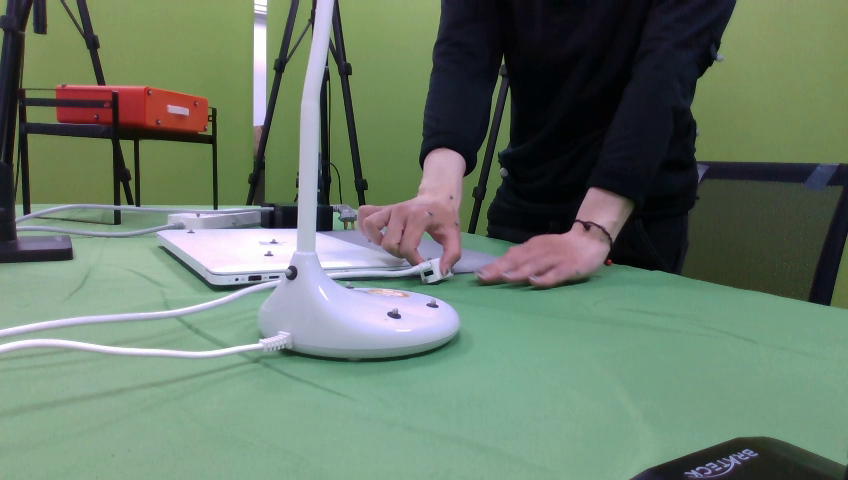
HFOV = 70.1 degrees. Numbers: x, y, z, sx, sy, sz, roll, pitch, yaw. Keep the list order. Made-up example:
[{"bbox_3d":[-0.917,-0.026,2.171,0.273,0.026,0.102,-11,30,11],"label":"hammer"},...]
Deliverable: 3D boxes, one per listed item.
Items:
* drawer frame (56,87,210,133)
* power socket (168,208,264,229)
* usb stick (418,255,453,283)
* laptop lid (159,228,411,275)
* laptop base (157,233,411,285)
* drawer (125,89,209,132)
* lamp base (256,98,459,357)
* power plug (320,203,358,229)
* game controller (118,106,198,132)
[{"bbox_3d":[-0.598,-0.269,1.261,0.213,0.082,0.202,4,8,14],"label":"drawer frame"},{"bbox_3d":[-0.381,-0.038,1.128,0.072,0.032,0.227,4,8,16],"label":"power socket"},{"bbox_3d":[0.017,0.034,0.713,0.021,0.027,0.059,-17,-7,25],"label":"usb stick"},{"bbox_3d":[-0.201,0.007,0.806,0.243,0.013,0.355,-1,8,-31],"label":"laptop lid"},{"bbox_3d":[-0.204,0.019,0.806,0.237,0.023,0.352,0,7,-33],"label":"laptop base"},{"bbox_3d":[-0.595,-0.268,1.263,0.211,0.073,0.195,4,8,15],"label":"drawer"},{"bbox_3d":[-0.055,-0.014,0.463,0.160,0.180,0.180,6,11,27],"label":"lamp base"},{"bbox_3d":[-0.170,-0.047,1.209,0.073,0.052,0.035,-5,-14,-5],"label":"power plug"},{"bbox_3d":[-0.555,-0.252,1.255,0.097,0.051,0.155,8,11,18],"label":"game controller"}]
